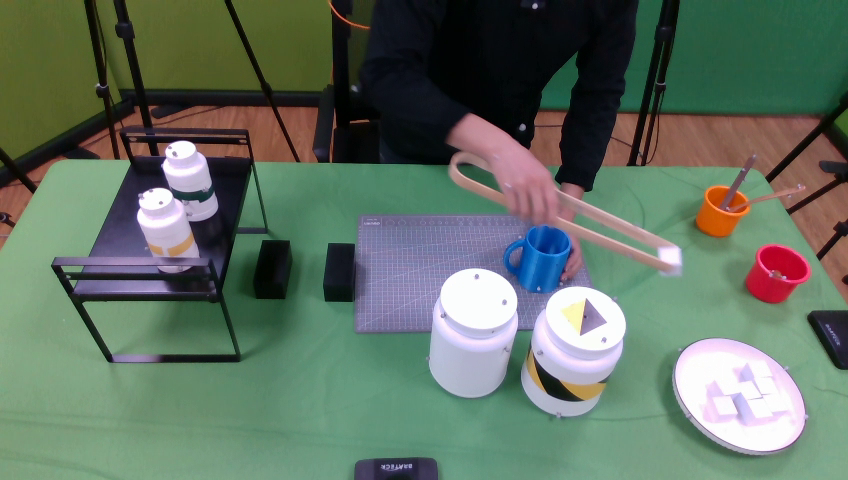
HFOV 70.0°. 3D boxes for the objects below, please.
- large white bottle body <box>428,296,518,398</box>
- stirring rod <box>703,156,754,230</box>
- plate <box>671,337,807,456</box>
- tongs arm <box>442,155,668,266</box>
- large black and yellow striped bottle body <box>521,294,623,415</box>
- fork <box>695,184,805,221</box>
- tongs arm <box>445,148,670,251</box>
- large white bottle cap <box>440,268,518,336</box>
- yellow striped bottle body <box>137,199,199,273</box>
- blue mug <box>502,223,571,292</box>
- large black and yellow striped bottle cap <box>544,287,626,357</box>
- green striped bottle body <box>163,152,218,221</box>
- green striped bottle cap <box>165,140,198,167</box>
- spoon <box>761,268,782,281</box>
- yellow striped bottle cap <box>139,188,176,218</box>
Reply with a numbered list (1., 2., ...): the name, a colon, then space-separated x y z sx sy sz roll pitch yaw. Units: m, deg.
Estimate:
1. large white bottle body: 0.075 0.147 0.950 0.131 0.185 0.130 2 46 -2
2. stirring rod: 0.631 -0.098 1.258 0.014 0.006 0.176 33 95 29
3. plate: 0.504 0.253 0.984 0.208 0.039 0.206 2 46 -2
4. tongs arm: 0.203 -0.043 0.965 0.387 0.028 0.028 24 60 2
5. large black and yellow striped bottle body: 0.228 0.173 0.937 0.131 0.185 0.130 2 47 -2
6. fork: 0.657 -0.075 1.230 0.207 0.019 0.028 -23 34 37
7. tongs arm: 0.212 -0.061 0.979 0.384 0.026 0.050 27 57 5
8. large white bottle cap: 0.080 0.089 0.888 0.115 0.018 0.114 2 47 -2
9. yellow striped bottle body: -0.366 -0.014 0.864 0.063 0.121 0.062 2 46 -2
10. blue mug: 0.203 0.032 1.121 0.116 0.106 0.082 4 47 0
11. large black and yellow striped bottle cap: 0.232 0.116 0.876 0.115 0.019 0.114 1 46 -1
12. green striped bottle body: -0.363 -0.092 0.939 0.063 0.120 0.063 2 46 -2
13. green striped bottle cap: -0.361 -0.128 0.902 0.044 0.020 0.044 3 47 -3
14. spoon: 0.638 0.060 1.105 0.041 0.021 0.194 38 11 24
15. yellow striped bottle cap: -0.363 -0.051 0.826 0.044 0.019 0.044 1 47 -1
